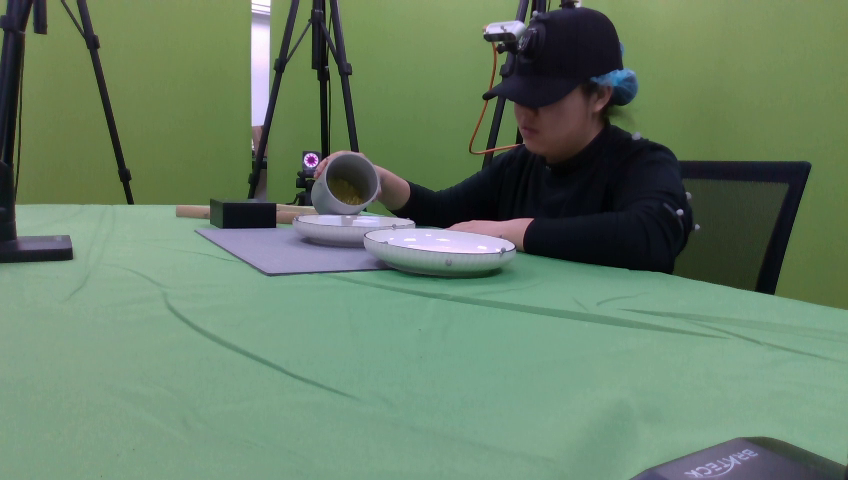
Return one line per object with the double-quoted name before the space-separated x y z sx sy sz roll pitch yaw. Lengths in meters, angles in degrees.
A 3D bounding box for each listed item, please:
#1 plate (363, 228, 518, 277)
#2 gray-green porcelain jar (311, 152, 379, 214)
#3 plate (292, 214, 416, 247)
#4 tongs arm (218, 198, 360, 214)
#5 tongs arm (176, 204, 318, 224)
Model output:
"plate" 0.021 0.016 0.817 0.209 0.038 0.209 4 9 0
"gray-green porcelain jar" -0.154 -0.095 1.143 0.106 0.105 0.126 -1 -13 -24
"plate" -0.118 -0.017 1.024 0.208 0.039 0.207 3 8 0
"tongs arm" -0.313 -0.064 1.352 0.384 0.026 0.051 6 9 17
"tongs arm" -0.333 -0.052 1.273 0.387 0.028 0.028 4 5 4
